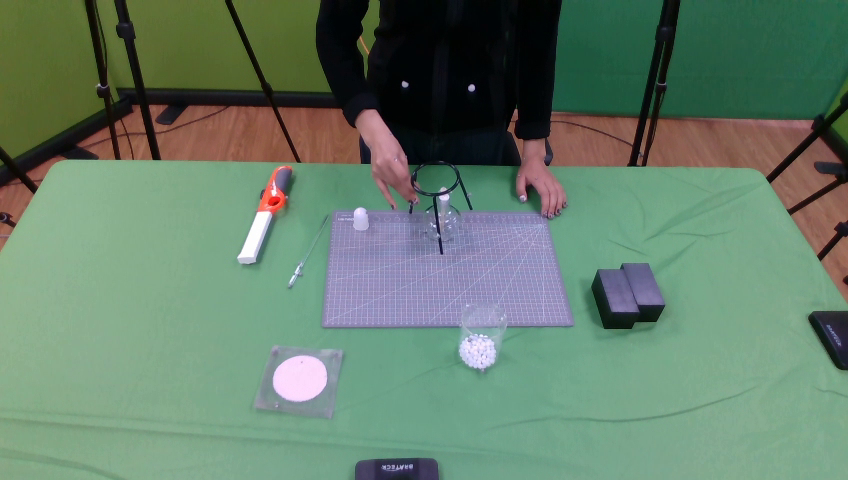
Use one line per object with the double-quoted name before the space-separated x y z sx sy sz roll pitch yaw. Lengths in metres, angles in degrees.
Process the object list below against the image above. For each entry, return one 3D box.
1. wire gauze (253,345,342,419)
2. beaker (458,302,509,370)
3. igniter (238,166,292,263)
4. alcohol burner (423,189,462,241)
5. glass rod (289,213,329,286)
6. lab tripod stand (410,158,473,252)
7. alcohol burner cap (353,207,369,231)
"wire gauze" -0.200 0.224 0.979 0.125 0.011 0.121 7 47 0
"beaker" 0.092 0.159 0.999 0.083 0.101 0.074 35 53 28
"igniter" -0.319 -0.060 1.229 0.057 0.025 0.275 -2 45 10
"alcohol burner" 0.036 -0.055 1.186 0.078 0.120 0.077 2 48 -2
"glass rod" -0.221 0.014 1.179 0.008 0.008 0.199 12 47 9
"lab tripod stand" 0.029 -0.073 1.128 0.148 0.132 0.147 -3 51 4
"alcohol burner cap" -0.127 -0.046 1.215 0.034 0.048 0.033 3 46 -3
